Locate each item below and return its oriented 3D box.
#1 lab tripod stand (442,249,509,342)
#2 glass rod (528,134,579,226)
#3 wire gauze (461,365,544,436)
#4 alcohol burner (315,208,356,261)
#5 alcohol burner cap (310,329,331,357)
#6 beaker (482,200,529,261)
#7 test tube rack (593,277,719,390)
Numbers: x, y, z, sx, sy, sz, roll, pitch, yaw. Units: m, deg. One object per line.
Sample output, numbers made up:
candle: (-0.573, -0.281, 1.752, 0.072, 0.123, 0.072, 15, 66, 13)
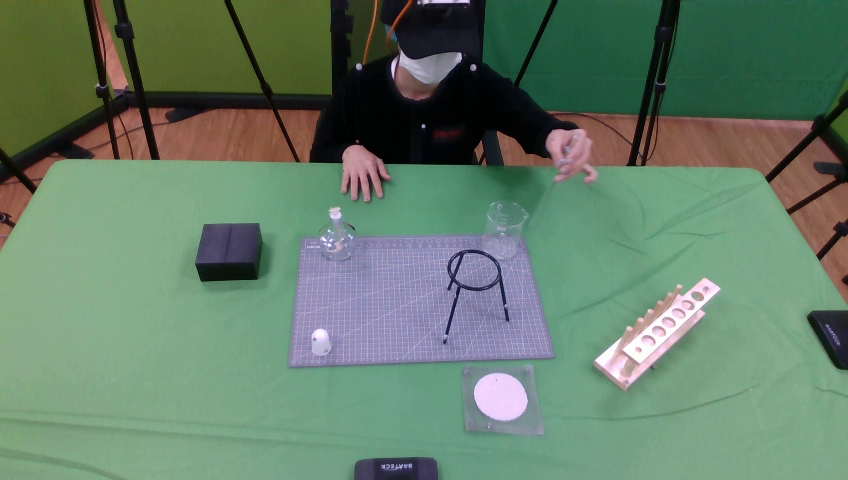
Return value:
lab tripod stand: (0.082, 0.091, 1.036, 0.148, 0.132, 0.147, 3, 44, -3)
glass rod: (0.213, -0.095, 1.009, 0.008, 0.200, 0.008, 11, 44, -11)
wire gauze: (0.124, 0.254, 0.973, 0.125, 0.011, 0.120, 3, 47, -3)
alcohol burner: (-0.166, -0.017, 1.135, 0.078, 0.119, 0.077, 2, 48, -2)
alcohol burner cap: (-0.173, 0.168, 1.004, 0.034, 0.048, 0.033, 2, 46, -2)
beaker: (0.153, -0.016, 1.169, 0.084, 0.101, 0.073, -2, 46, -7)
test tube rack: (0.401, 0.148, 1.043, 0.242, 0.085, 0.066, -30, 55, -29)
